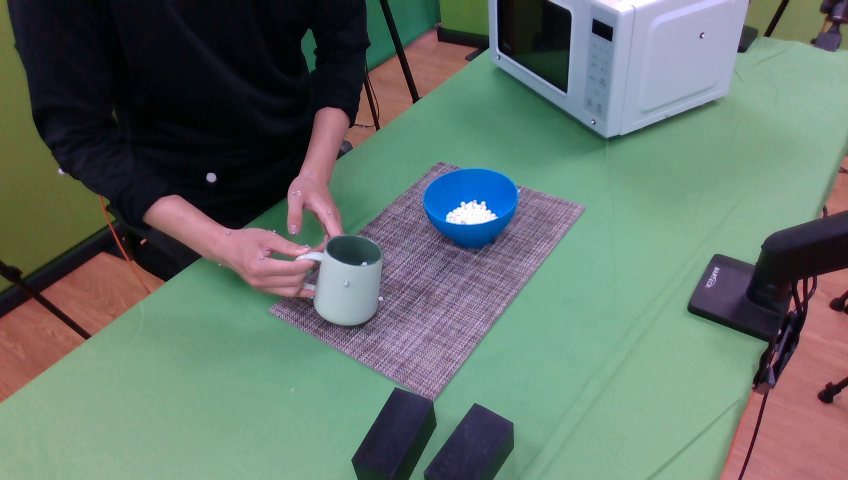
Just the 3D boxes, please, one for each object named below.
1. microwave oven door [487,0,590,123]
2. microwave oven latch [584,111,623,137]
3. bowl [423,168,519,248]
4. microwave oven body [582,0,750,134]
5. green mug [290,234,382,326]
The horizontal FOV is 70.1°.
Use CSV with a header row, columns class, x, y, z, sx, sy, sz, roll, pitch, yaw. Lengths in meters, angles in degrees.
class,x,y,z,sx,sy,sz,roll,pitch,yaw
microwave oven door,0.232,-0.420,1.230,0.039,0.245,0.352,-22,43,-16
microwave oven latch,0.337,-0.222,1.142,0.030,0.029,0.078,-21,42,-14
bowl,0.076,-0.041,0.958,0.151,0.077,0.150,-4,40,4
microwave oven body,0.382,-0.444,1.246,0.327,0.261,0.437,-22,42,-16
green mug,-0.121,0.054,0.834,0.126,0.105,0.092,9,31,-7
